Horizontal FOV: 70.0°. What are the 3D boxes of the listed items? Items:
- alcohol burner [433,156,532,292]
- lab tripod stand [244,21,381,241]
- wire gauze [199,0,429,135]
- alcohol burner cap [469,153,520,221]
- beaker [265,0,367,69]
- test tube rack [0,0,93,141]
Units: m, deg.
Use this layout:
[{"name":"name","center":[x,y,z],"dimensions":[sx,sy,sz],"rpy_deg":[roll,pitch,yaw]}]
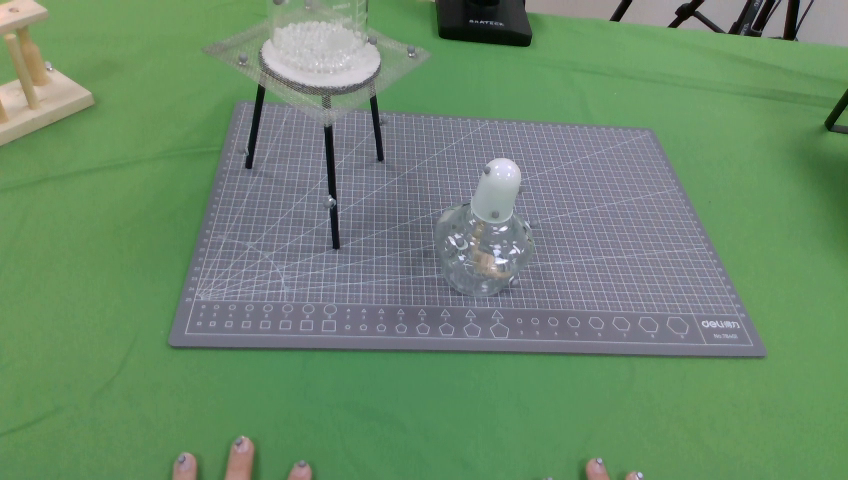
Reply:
[{"name":"alcohol burner","center":[0.047,-0.016,0.457],"dimensions":[0.078,0.120,0.077],"rpy_deg":[6,45,-6]},{"name":"lab tripod stand","center":[-0.083,-0.094,0.494],"dimensions":[0.149,0.132,0.147],"rpy_deg":[6,47,-6]},{"name":"wire gauze","center":[-0.078,-0.138,0.447],"dimensions":[0.124,0.011,0.121],"rpy_deg":[35,53,16]},{"name":"alcohol burner cap","center":[0.052,-0.040,0.431],"dimensions":[0.034,0.048,0.033],"rpy_deg":[5,51,-5]},{"name":"beaker","center":[-0.076,-0.177,0.415],"dimensions":[0.073,0.101,0.084],"rpy_deg":[39,54,24]},{"name":"test tube rack","center":[-0.412,-0.115,0.496],"dimensions":[0.066,0.086,0.242],"rpy_deg":[32,50,19]}]
